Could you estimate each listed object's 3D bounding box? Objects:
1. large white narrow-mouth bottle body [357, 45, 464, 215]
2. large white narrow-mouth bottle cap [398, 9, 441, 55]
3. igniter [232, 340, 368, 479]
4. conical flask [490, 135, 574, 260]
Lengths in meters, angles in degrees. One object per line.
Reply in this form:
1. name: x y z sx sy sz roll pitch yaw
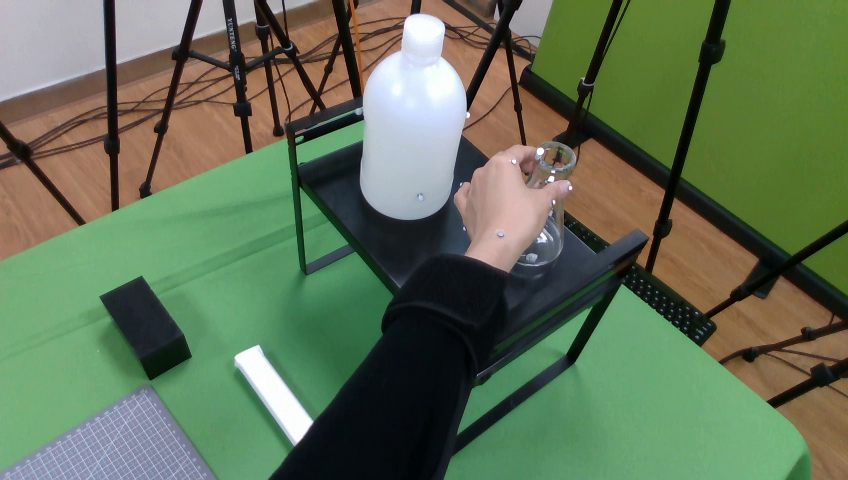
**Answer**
1. large white narrow-mouth bottle body: -0.013 -0.121 0.584 0.102 0.196 0.101 4 50 -5
2. large white narrow-mouth bottle cap: -0.004 -0.178 0.517 0.038 0.024 0.037 4 50 -5
3. igniter: -0.119 0.212 0.639 0.057 0.025 0.274 -25 58 -38
4. conical flask: 0.110 -0.043 0.586 0.075 0.123 0.074 4 50 -4
